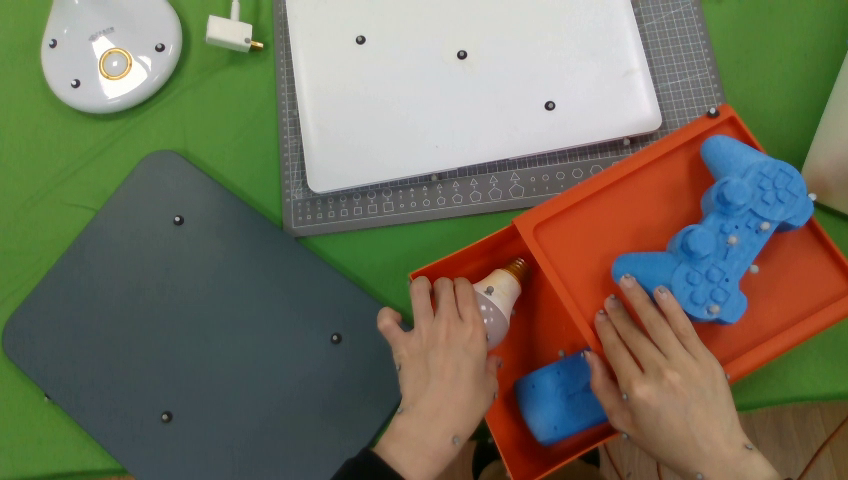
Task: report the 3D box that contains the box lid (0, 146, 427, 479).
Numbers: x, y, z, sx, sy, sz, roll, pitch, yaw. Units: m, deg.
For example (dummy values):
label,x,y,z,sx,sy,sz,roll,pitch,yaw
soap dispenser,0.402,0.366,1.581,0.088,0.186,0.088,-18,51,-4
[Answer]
label,x,y,z,sx,sy,sz,roll,pitch,yaw
box lid,-0.210,0.094,0.584,0.370,0.015,0.263,35,82,12

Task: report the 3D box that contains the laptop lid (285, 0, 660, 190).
label,x,y,z,sx,sy,sz,roll,pitch,yaw
laptop lid,0.039,-0.189,0.616,0.356,0.013,0.240,-8,77,4

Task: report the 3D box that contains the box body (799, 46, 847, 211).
label,x,y,z,sx,sy,sz,roll,pitch,yaw
box body,0.514,-0.165,0.499,0.253,0.161,0.363,25,79,11

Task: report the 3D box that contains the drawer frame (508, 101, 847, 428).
label,x,y,z,sx,sy,sz,roll,pitch,yaw
drawer frame,0.211,0.020,0.522,0.213,0.083,0.200,-29,74,-1

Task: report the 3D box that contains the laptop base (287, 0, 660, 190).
label,x,y,z,sx,sy,sz,roll,pitch,yaw
laptop base,0.040,-0.188,0.628,0.354,0.023,0.234,-10,78,3

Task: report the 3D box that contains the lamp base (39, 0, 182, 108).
label,x,y,z,sx,sy,sz,roll,pitch,yaw
lamp base,-0.362,-0.249,0.601,0.160,0.181,0.178,-35,72,-4

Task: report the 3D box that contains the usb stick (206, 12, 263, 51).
label,x,y,z,sx,sy,sz,roll,pitch,yaw
usb stick,-0.202,-0.222,0.649,0.059,0.021,0.027,10,79,-26

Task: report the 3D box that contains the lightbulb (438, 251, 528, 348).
label,x,y,z,sx,sy,sz,roll,pitch,yaw
lightbulb,0.057,0.049,0.545,0.059,0.060,0.107,38,67,14

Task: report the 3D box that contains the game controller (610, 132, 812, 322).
label,x,y,z,sx,sy,sz,roll,pitch,yaw
game controller,0.228,-0.009,0.475,0.097,0.052,0.155,38,84,9

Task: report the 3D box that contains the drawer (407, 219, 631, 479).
label,x,y,z,sx,sy,sz,roll,pitch,yaw
drawer,0.121,0.069,0.523,0.212,0.074,0.193,-27,74,-1
